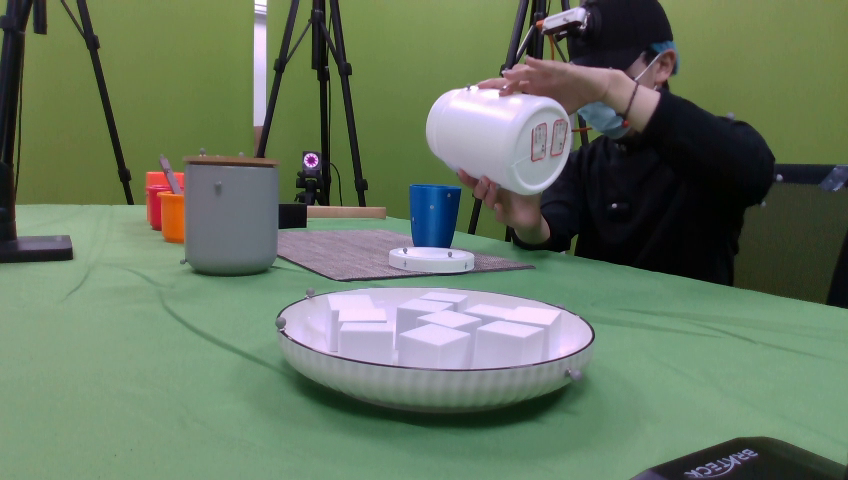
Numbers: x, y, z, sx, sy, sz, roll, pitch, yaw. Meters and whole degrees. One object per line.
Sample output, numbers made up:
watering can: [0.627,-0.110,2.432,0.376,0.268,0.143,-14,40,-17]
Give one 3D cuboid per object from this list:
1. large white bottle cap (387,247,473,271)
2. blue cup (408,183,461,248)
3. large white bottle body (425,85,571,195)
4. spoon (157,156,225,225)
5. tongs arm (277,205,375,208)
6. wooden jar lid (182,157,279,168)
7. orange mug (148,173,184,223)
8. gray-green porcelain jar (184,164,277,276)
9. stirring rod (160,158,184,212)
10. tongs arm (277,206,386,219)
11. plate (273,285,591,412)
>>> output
large white bottle cap: [0.009,0.024,0.804,0.115,0.018,0.115,2,7,0]
blue cup: [0.015,-0.038,0.970,0.093,0.100,0.092,3,9,0]
large white bottle body: [0.099,-0.148,0.862,0.131,0.130,0.183,-4,21,-40]
spoon: [-0.425,-0.094,1.117,0.041,0.022,0.194,5,51,29]
tongs arm: [-0.288,-0.070,1.435,0.389,0.027,0.028,1,0,-18]
wooden jar lid: [-0.227,-0.086,0.714,0.108,0.020,0.108,0,6,0]
orange mug: [-0.490,-0.087,1.222,0.127,0.101,0.083,-9,13,-38]
gray-green porcelain jar: [-0.230,-0.025,0.722,0.106,0.126,0.106,3,7,0]
stirring rod: [-0.391,-0.070,0.972,0.014,0.006,0.175,-1,50,-49]
tongs arm: [-0.252,-0.062,1.360,0.387,0.026,0.050,-1,4,-31]
plate: [0.005,0.069,0.408,0.208,0.039,0.207,2,7,0]
